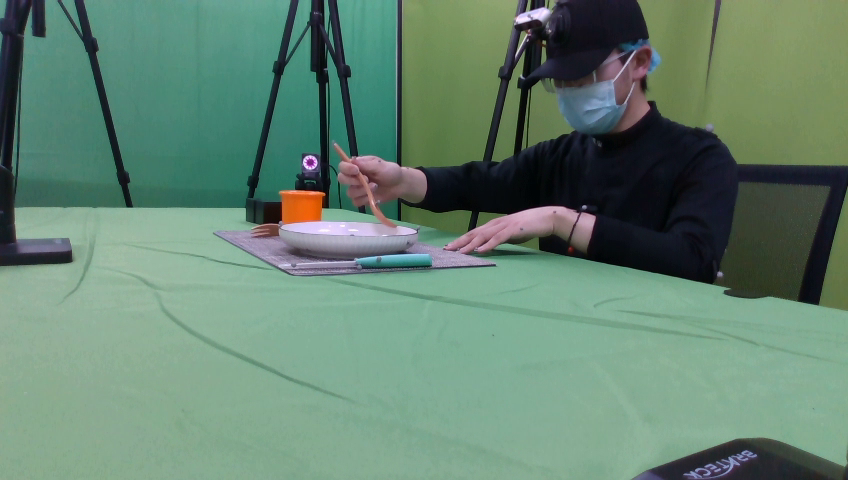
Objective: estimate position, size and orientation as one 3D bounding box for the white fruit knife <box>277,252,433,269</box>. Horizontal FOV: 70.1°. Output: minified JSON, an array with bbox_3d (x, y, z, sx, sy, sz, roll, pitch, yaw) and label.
[{"bbox_3d":[-0.082,0.029,0.772,0.208,0.016,0.027,-3,-20,-22],"label":"white fruit knife"}]

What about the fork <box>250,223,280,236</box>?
[{"bbox_3d":[-0.194,-0.014,1.051,0.208,0.028,0.018,3,38,-14],"label":"fork"}]

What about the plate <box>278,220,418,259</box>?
[{"bbox_3d":[-0.114,-0.002,0.914,0.209,0.038,0.209,2,7,0],"label":"plate"}]

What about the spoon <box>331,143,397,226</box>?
[{"bbox_3d":[-0.102,-0.094,1.004,0.021,0.193,0.042,-36,-21,5],"label":"spoon"}]
